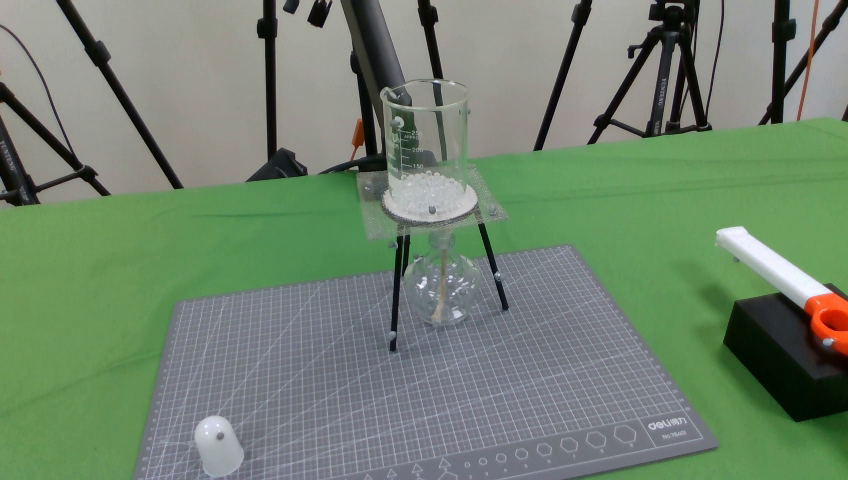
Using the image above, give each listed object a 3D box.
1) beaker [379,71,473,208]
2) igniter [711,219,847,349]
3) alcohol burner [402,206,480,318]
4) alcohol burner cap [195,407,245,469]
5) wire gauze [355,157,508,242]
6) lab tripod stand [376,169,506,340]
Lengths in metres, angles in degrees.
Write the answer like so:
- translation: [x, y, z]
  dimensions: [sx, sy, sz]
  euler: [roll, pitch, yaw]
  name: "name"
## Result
- translation: [-0.001, -0.086, 0.521]
  dimensions: [0.074, 0.101, 0.083]
  euler: [-29, 42, -36]
  name: "beaker"
- translation: [0.340, 0.053, 0.514]
  dimensions: [0.057, 0.025, 0.273]
  euler: [-9, 31, -9]
  name: "igniter"
- translation: [0.017, 0.018, 0.590]
  dimensions: [0.078, 0.120, 0.077]
  euler: [0, 35, 1]
  name: "alcohol burner"
- translation: [-0.159, 0.149, 0.469]
  dimensions: [0.034, 0.048, 0.033]
  euler: [-1, 34, 1]
  name: "alcohol burner cap"
- translation: [0.001, -0.044, 0.548]
  dimensions: [0.121, 0.011, 0.123]
  euler: [-8, 36, -7]
  name: "wire gauze"
- translation: [0.008, 0.008, 0.587]
  dimensions: [0.148, 0.132, 0.147]
  euler: [-1, 32, 1]
  name: "lab tripod stand"
